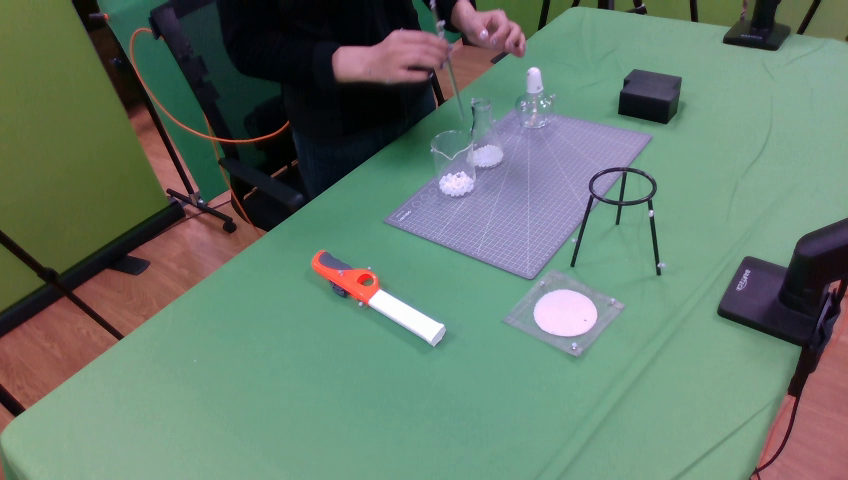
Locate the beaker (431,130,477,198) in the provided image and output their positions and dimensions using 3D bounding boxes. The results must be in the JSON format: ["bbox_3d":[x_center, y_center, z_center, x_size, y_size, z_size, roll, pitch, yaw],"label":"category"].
[{"bbox_3d":[0.055,-0.130,1.063,0.074,0.101,0.083,-4,41,8],"label":"beaker"}]

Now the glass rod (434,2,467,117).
[{"bbox_3d":[0.045,-0.283,0.967,0.008,0.201,0.008,-12,41,11],"label":"glass rod"}]

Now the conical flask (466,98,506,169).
[{"bbox_3d":[0.111,-0.199,1.116,0.075,0.122,0.075,-5,40,5],"label":"conical flask"}]

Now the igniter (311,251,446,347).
[{"bbox_3d":[-0.078,0.081,0.899,0.274,0.025,0.057,27,62,35],"label":"igniter"}]

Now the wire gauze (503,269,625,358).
[{"bbox_3d":[0.194,0.100,0.840,0.120,0.011,0.125,27,54,36],"label":"wire gauze"}]

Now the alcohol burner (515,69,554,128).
[{"bbox_3d":[0.221,-0.285,1.203,0.078,0.119,0.077,-4,39,4],"label":"alcohol burner"}]

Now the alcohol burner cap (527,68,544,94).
[{"bbox_3d":[0.216,-0.312,1.179,0.034,0.048,0.033,-10,40,9],"label":"alcohol burner cap"}]

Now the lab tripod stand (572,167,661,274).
[{"bbox_3d":[0.283,-0.030,0.879,0.148,0.132,0.147,-7,38,6],"label":"lab tripod stand"}]
